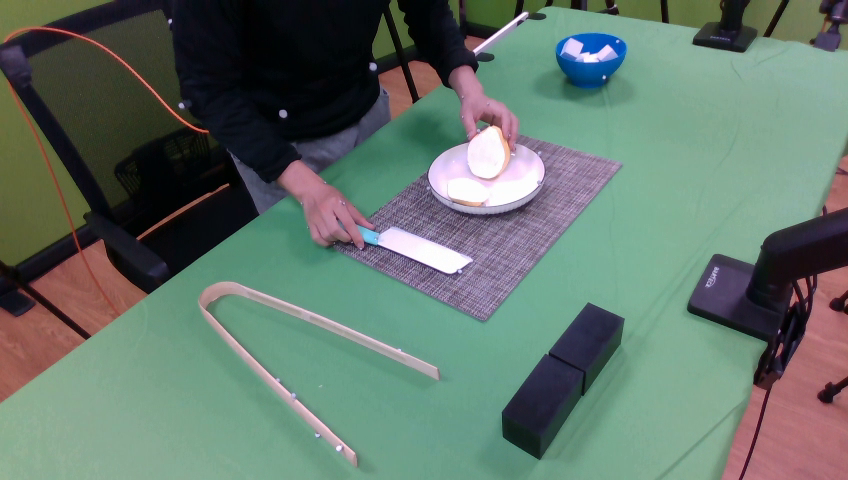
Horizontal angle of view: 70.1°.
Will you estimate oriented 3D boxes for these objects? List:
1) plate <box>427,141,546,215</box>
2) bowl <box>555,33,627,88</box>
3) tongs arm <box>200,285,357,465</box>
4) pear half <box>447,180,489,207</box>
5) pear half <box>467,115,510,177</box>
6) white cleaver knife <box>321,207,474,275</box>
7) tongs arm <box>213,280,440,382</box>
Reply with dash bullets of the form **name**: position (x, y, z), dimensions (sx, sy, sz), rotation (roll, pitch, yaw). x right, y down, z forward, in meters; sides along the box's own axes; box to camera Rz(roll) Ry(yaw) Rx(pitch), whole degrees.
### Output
- **plate**: position (0.109, -0.106, 1.059), dimensions (0.207, 0.039, 0.206), rotation (-4, 40, 4)
- **bowl**: position (0.360, -0.384, 1.317), dimensions (0.151, 0.077, 0.150), rotation (-4, 41, 4)
- **tongs arm**: position (-0.199, 0.162, 0.797), dimensions (0.381, 0.026, 0.051), rotation (28, 50, 35)
- **pear half**: position (0.069, -0.072, 1.016), dimensions (0.070, 0.031, 0.088), rotation (29, 35, 33)
- **pear half**: position (0.119, -0.170, 1.062), dimensions (0.076, 0.110, 0.056), rotation (19, 31, 14)
- **white cleaver knife**: position (-0.051, -0.003, 0.978), dimensions (0.284, 0.021, 0.066), rotation (22, 40, 27)
- **tongs arm**: position (-0.147, 0.121, 0.846), dimensions (0.385, 0.028, 0.028), rotation (17, 48, 25)
